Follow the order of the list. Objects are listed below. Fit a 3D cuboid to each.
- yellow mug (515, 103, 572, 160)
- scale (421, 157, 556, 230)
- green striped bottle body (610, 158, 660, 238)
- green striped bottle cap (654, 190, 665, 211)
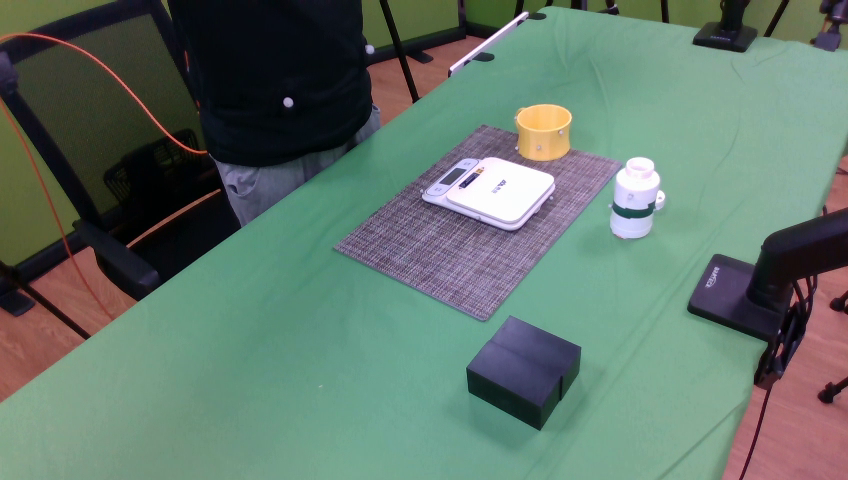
[{"bbox_3d":[0.216,-0.211,1.143,0.100,0.064,0.129,-27,44,-22],"label":"yellow mug"},{"bbox_3d":[0.110,-0.089,1.042,0.199,0.032,0.149,23,48,31],"label":"scale"},{"bbox_3d":[0.323,-0.066,0.924,0.063,0.120,0.063,-4,41,4],"label":"green striped bottle body"},{"bbox_3d":[0.374,-0.066,0.999,0.044,0.020,0.044,-8,38,6],"label":"green striped bottle cap"}]
